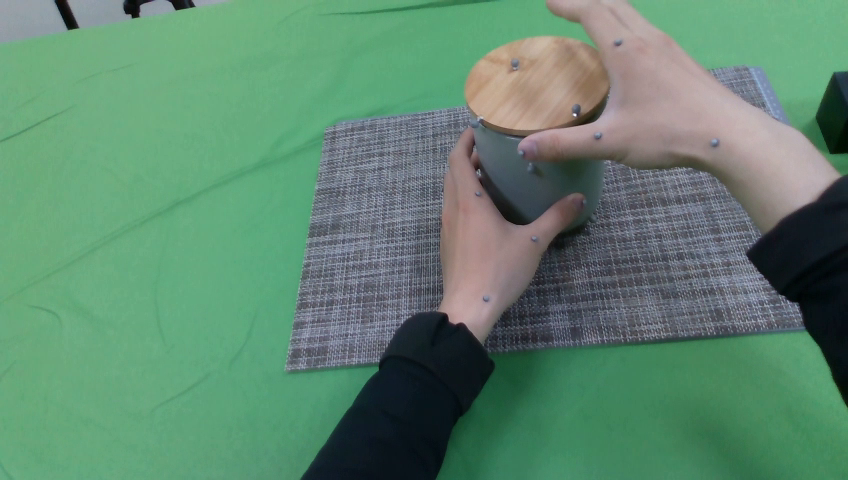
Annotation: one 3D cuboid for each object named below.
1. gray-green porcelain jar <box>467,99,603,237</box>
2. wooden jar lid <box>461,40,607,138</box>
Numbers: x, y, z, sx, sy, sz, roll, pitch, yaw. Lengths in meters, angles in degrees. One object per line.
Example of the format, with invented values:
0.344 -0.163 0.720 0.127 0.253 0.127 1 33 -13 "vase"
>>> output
0.095 -0.073 0.510 0.106 0.128 0.105 -7 51 9 "gray-green porcelain jar"
0.083 -0.113 0.460 0.108 0.021 0.107 -6 53 9 "wooden jar lid"
